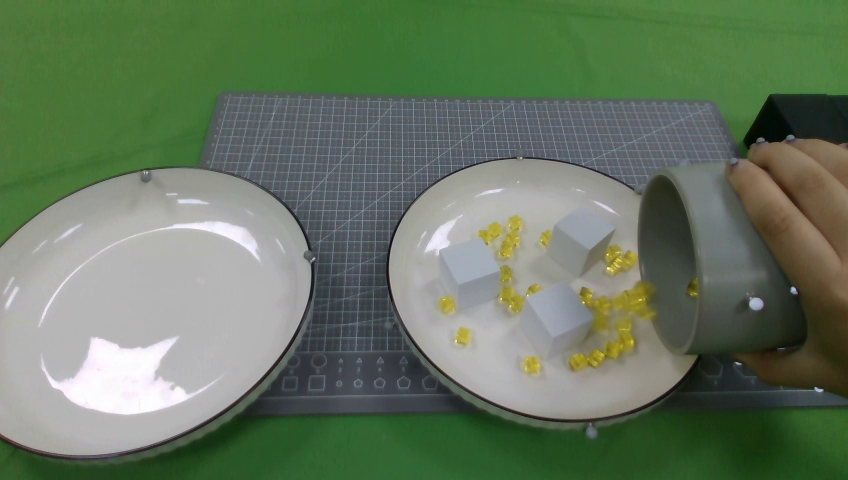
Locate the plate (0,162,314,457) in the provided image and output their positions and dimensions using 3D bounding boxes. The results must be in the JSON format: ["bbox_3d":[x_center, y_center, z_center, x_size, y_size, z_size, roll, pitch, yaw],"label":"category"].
[{"bbox_3d":[-0.172,0.036,0.380,0.209,0.038,0.207,1,52,-1],"label":"plate"}]

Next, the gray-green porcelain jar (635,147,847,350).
[{"bbox_3d":[0.195,0.004,0.335,0.126,0.107,0.105,-5,52,4],"label":"gray-green porcelain jar"}]

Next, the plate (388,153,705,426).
[{"bbox_3d":[0.080,0.027,0.403,0.208,0.039,0.205,2,52,-2],"label":"plate"}]
